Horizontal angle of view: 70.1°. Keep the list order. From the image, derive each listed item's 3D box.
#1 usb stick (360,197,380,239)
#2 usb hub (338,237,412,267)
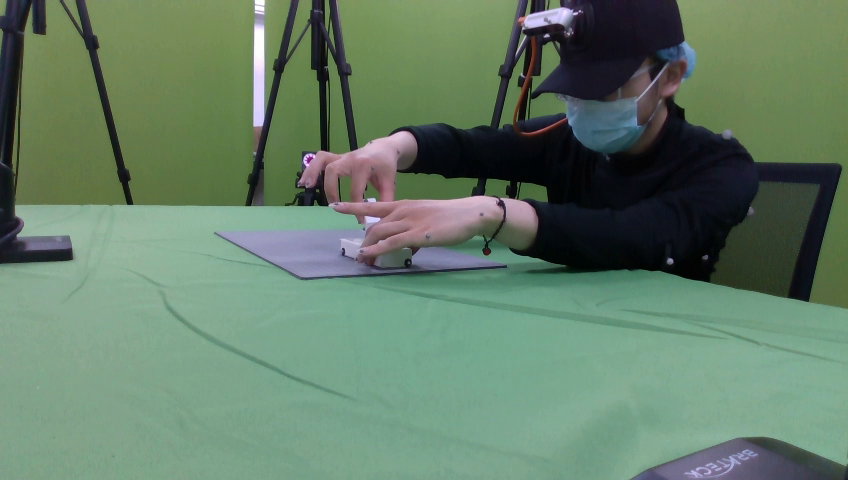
[{"bbox_3d":[-0.075,-0.030,0.850,0.021,0.059,0.027,-4,-30,-15],"label":"usb stick"},{"bbox_3d":[-0.070,0.015,0.832,0.050,0.025,0.124,-2,8,-34],"label":"usb hub"}]
